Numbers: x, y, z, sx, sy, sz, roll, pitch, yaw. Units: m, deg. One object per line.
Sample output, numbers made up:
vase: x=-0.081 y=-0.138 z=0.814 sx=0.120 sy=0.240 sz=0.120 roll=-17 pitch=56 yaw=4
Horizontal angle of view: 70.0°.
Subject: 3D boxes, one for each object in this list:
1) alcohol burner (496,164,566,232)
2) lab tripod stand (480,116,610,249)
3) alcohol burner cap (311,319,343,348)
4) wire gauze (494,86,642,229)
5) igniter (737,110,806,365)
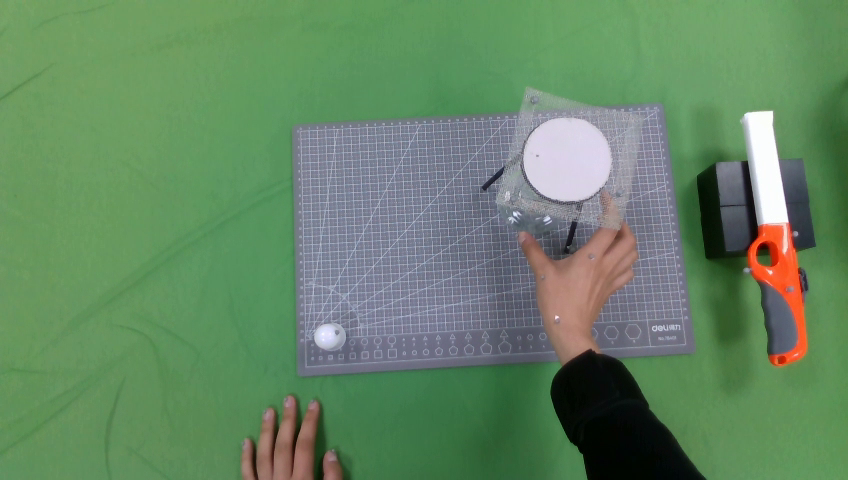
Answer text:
alcohol burner: x=0.119 y=-0.050 z=0.659 sx=0.078 sy=0.119 sz=0.077 roll=0 pitch=81 yaw=1
lab tripod stand: x=0.139 y=-0.071 z=0.653 sx=0.148 sy=0.132 sz=0.147 roll=0 pitch=78 yaw=1
alcohol burner cap: x=-0.109 y=0.103 z=0.669 sx=0.034 sy=0.048 sz=0.033 roll=0 pitch=80 yaw=-1
wire gauze: x=0.141 y=-0.081 z=0.586 sx=0.121 sy=0.011 sz=0.124 roll=15 pitch=79 yaw=2
igniter: x=0.371 y=-0.007 z=0.652 sx=0.057 sy=0.025 sz=0.275 roll=-3 pitch=80 yaw=5
